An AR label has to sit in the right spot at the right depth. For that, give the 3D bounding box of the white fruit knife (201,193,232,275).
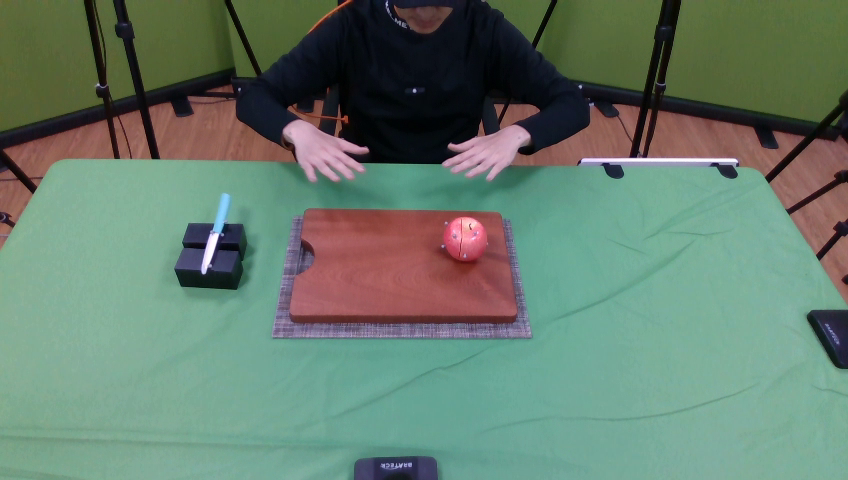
[{"bbox_3d":[-0.383,-0.015,1.119,0.027,0.016,0.206,-20,45,18],"label":"white fruit knife"}]

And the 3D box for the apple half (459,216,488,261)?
[{"bbox_3d":[0.091,0.000,1.126,0.053,0.075,0.080,5,42,-5],"label":"apple half"}]

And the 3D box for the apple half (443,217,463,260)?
[{"bbox_3d":[0.052,-0.001,1.123,0.033,0.081,0.081,4,46,-3],"label":"apple half"}]
